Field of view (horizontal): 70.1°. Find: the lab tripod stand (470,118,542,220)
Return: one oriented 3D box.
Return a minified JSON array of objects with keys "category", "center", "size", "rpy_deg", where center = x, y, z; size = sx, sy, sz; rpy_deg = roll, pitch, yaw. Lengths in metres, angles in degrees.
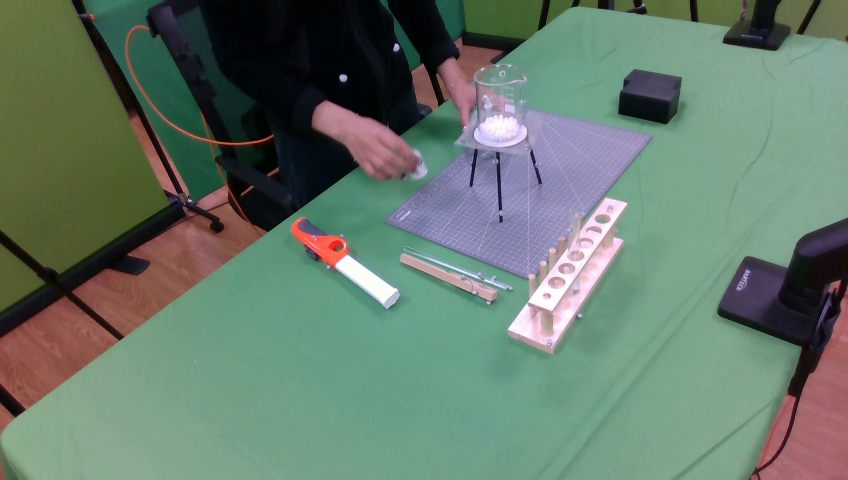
[{"category":"lab tripod stand","center":[0.135,-0.128,1.019],"size":[0.148,0.132,0.147],"rpy_deg":[-5,38,5]}]

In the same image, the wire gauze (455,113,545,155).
[{"category":"wire gauze","center":[0.124,-0.175,0.973],"size":[0.124,0.011,0.121],"rpy_deg":[8,39,21]}]

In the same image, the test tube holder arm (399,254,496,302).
[{"category":"test tube holder arm","center":[0.032,0.055,0.914],"size":[0.177,0.015,0.013],"rpy_deg":[21,16,32]}]

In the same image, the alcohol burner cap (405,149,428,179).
[{"category":"alcohol burner cap","center":[-0.015,-0.131,1.021],"size":[0.034,0.048,0.033],"rpy_deg":[-12,40,11]}]

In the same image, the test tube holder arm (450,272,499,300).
[{"category":"test tube holder arm","center":[0.071,0.068,0.895],"size":[0.087,0.015,0.010],"rpy_deg":[21,16,33]}]

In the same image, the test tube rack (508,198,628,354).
[{"category":"test tube rack","center":[0.206,0.039,0.850],"size":[0.066,0.085,0.243],"rpy_deg":[20,48,31]}]

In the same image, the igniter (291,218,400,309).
[{"category":"igniter","center":[-0.136,0.031,0.970],"size":[0.057,0.025,0.274],"rpy_deg":[-41,49,-19]}]

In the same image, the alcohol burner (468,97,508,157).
[{"category":"alcohol burner","center":[0.120,-0.218,1.143],"size":[0.078,0.119,0.077],"rpy_deg":[-4,42,4]}]

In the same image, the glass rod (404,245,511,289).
[{"category":"glass rod","center":[0.047,0.039,0.939],"size":[0.198,0.008,0.008],"rpy_deg":[21,49,31]}]

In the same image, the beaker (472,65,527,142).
[{"category":"beaker","center":[0.120,-0.211,0.942],"size":[0.083,0.101,0.074],"rpy_deg":[10,42,22]}]

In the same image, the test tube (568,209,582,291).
[{"category":"test tube","center":[0.200,0.017,0.799],"size":[0.017,0.151,0.017],"rpy_deg":[-8,45,8]}]
